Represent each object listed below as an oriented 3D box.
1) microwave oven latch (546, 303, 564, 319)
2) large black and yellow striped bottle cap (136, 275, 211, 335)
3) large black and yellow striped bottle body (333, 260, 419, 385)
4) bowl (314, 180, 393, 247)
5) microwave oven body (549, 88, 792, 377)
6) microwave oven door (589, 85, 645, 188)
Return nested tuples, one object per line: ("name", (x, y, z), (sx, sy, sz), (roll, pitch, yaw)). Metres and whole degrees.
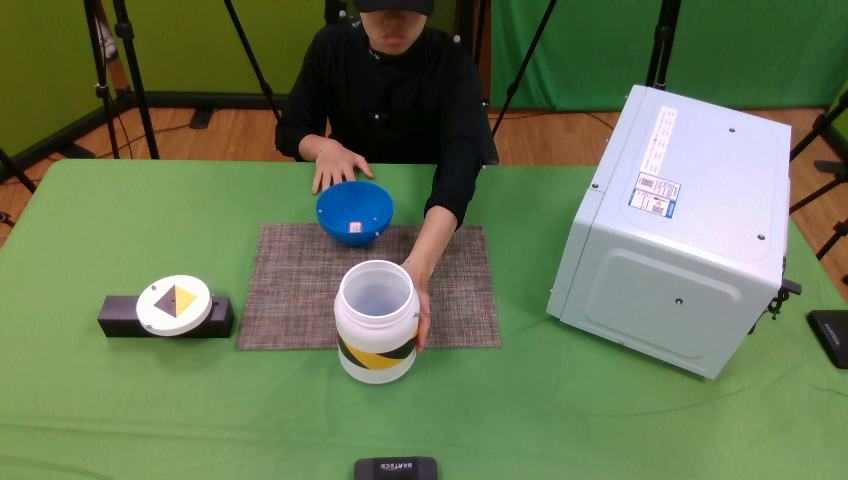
("microwave oven latch", (0.242, 0.102, 1.081), (0.030, 0.029, 0.079), (21, 48, 17))
("large black and yellow striped bottle cap", (-0.412, 0.105, 0.999), (0.115, 0.019, 0.114), (3, 46, -3))
("large black and yellow striped bottle body", (-0.075, 0.129, 0.950), (0.131, 0.185, 0.130), (2, 49, -2))
("bowl", (-0.135, -0.039, 1.181), (0.151, 0.077, 0.150), (2, 46, -2))
("microwave oven body", (0.456, -0.028, 1.088), (0.325, 0.261, 0.440), (20, 47, 16))
("microwave oven door", (0.341, -0.107, 1.149), (0.039, 0.245, 0.354), (20, 48, 15))
